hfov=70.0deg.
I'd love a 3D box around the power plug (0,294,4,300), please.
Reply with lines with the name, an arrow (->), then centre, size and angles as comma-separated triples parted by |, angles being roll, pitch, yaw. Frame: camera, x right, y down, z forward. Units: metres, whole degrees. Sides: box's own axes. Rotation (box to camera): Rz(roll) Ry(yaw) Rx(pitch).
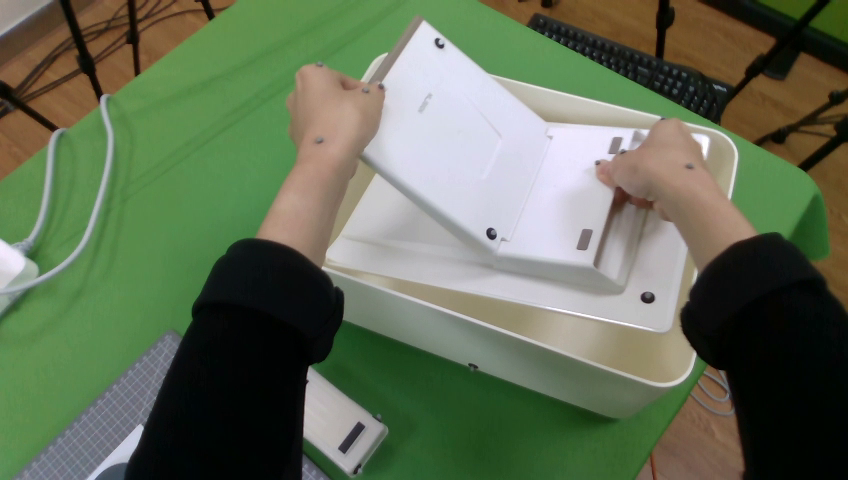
power plug -> -0.476, 0.057, 0.656 | 0.072, 0.053, 0.035 | 42, 72, 16

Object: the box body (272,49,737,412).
box body -> 0.078, -0.010, 0.604 | 0.363, 0.162, 0.253 | 17, 65, 13

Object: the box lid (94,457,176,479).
box lid -> -0.205, 0.378, 0.504 | 0.370, 0.015, 0.262 | 25, 67, 15

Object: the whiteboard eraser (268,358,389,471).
whiteboard eraser -> -0.093, 0.168, 0.591 | 0.112, 0.042, 0.055 | 32, 67, 19

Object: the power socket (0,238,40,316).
power socket -> -0.528, 0.091, 0.667 | 0.072, 0.033, 0.226 | 30, 68, 17

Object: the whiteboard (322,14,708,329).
whiteboard -> 0.066, -0.081, 0.504 | 0.304, 0.145, 0.216 | 10, 54, 24
